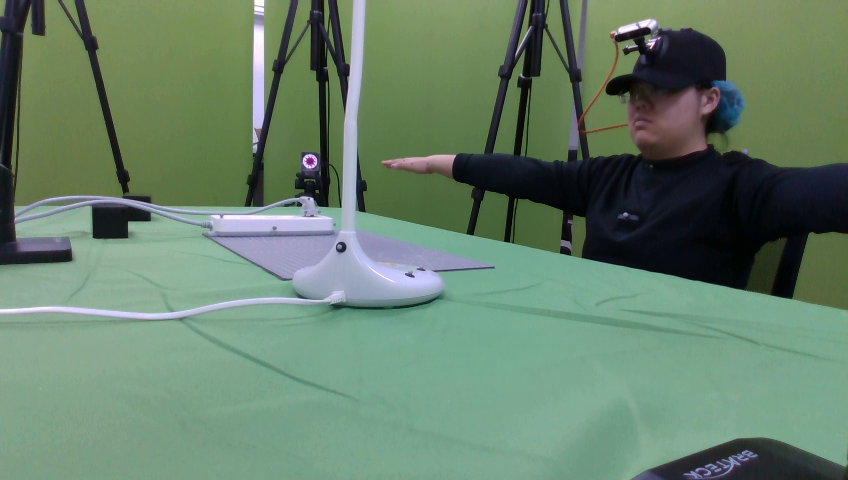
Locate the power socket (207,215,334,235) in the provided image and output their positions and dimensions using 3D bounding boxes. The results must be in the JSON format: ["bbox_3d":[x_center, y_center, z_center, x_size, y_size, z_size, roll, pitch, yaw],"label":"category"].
[{"bbox_3d":[-0.270,-0.028,1.082,0.228,0.032,0.072,-2,7,-30],"label":"power socket"}]

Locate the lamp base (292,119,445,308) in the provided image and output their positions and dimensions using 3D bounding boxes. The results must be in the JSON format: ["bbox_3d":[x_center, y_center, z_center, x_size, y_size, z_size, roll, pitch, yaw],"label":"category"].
[{"bbox_3d":[-0.056,-0.030,0.616,0.160,0.180,0.179,4,10,8],"label":"lamp base"}]

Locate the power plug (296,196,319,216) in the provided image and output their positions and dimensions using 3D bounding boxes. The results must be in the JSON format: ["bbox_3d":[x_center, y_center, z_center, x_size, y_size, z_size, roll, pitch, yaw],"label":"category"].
[{"bbox_3d":[-0.219,-0.057,1.142,0.035,0.052,0.072,0,7,-19],"label":"power plug"}]
